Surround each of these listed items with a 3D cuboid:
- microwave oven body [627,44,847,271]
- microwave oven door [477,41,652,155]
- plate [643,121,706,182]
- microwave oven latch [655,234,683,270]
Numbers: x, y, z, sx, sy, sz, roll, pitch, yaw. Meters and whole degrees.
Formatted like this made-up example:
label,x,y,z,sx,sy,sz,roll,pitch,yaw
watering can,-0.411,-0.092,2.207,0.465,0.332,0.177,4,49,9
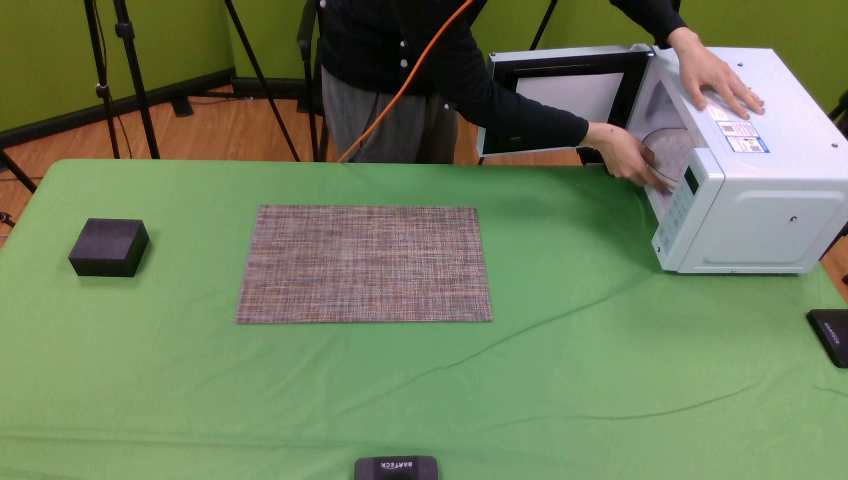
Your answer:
label,x,y,z,sx,sy,sz,roll,pitch,yaw
microwave oven body,0.619,-0.172,1.234,0.326,0.261,0.439,0,46,-3
microwave oven door,0.304,-0.311,1.336,0.356,0.245,0.039,-7,47,-10
plate,0.569,-0.179,1.290,0.209,0.038,0.208,1,46,-1
microwave oven latch,0.473,0.021,1.176,0.030,0.029,0.078,2,46,0
